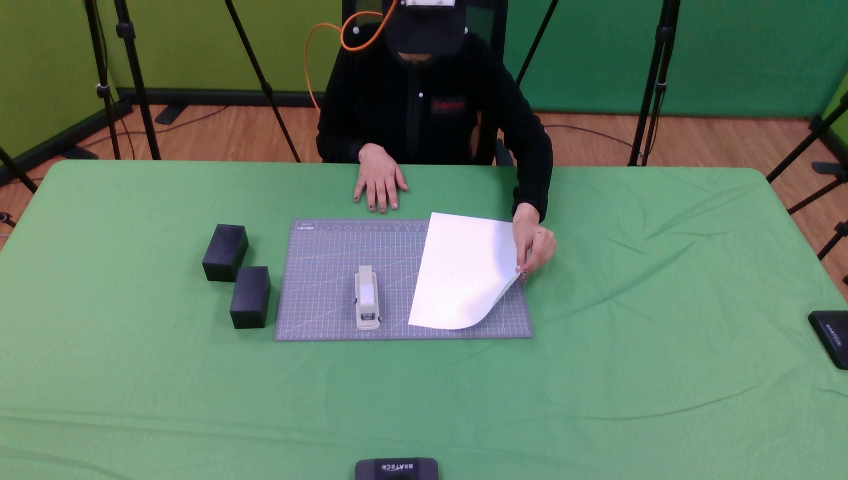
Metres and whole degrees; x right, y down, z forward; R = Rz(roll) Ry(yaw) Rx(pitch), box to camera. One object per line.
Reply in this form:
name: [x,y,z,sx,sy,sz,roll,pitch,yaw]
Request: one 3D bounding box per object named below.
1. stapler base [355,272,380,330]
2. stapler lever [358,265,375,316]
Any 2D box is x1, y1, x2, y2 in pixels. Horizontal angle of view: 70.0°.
stapler base: [-0.103,0.102,1.087,0.041,0.024,0.129,-1,45,-8]
stapler lever: [-0.102,0.083,1.070,0.027,0.040,0.117,-1,44,-8]
